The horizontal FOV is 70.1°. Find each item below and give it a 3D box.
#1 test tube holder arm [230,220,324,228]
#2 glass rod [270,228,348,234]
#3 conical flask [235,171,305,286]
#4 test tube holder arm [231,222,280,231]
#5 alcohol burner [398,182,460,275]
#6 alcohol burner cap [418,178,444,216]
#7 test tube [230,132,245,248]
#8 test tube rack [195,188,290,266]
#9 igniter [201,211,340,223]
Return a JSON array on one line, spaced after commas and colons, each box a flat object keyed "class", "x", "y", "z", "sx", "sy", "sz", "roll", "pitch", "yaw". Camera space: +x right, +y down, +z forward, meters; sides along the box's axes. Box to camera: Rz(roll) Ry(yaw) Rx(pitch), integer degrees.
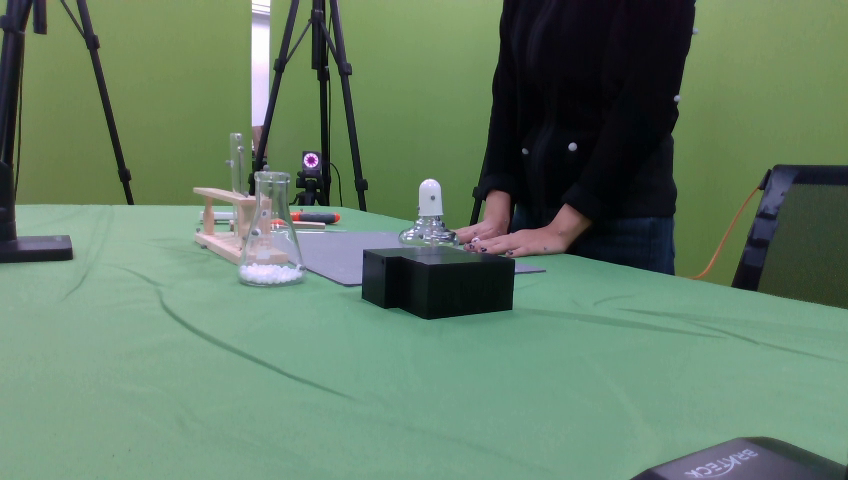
[{"class": "test tube holder arm", "x": -0.275, "y": -0.030, "z": 1.145, "sx": 0.179, "sy": 0.015, "sz": 0.013, "roll": -2, "pitch": 45, "yaw": -31}, {"class": "glass rod", "x": -0.234, "y": -0.017, "z": 1.105, "sx": 0.201, "sy": 0.008, "sz": 0.008, "roll": 1, "pitch": 7, "yaw": -26}, {"class": "conical flask", "x": -0.168, "y": -0.014, "z": 0.663, "sx": 0.075, "sy": 0.122, "sz": 0.075, "roll": 2, "pitch": 7, "yaw": 0}, {"class": "test tube holder arm", "x": -0.312, "y": -0.025, "z": 1.118, "sx": 0.088, "sy": 0.015, "sz": 0.010, "roll": -1, "pitch": 45, "yaw": -30}, {"class": "alcohol burner", "x": 0.007, "y": -0.017, "z": 0.751, "sx": 0.078, "sy": 0.119, "sz": 0.078, "roll": 3, "pitch": 9, "yaw": 0}, {"class": "alcohol burner cap", "x": 0.007, "y": -0.053, "z": 0.746, "sx": 0.034, "sy": 0.048, "sz": 0.034, "roll": -3, "pitch": 6, "yaw": 1}, {"class": "test tube", "x": -0.242, "y": -0.064, "z": 0.789, "sx": 0.017, "sy": 0.150, "sz": 0.017, "roll": -1, "pitch": 7, "yaw": 0}, {"class": "test tube rack", "x": -0.266, "y": -0.025, "z": 0.864, "sx": 0.067, "sy": 0.085, "sz": 0.241, "roll": -2, "pitch": 9, "yaw": -33}, {"class": "igniter", "x": -0.311, "y": -0.047, "z": 1.243, "sx": 0.278, "sy": 0.025, "sz": 0.057, "roll": -1, "pitch": -2, "yaw": -24}]
